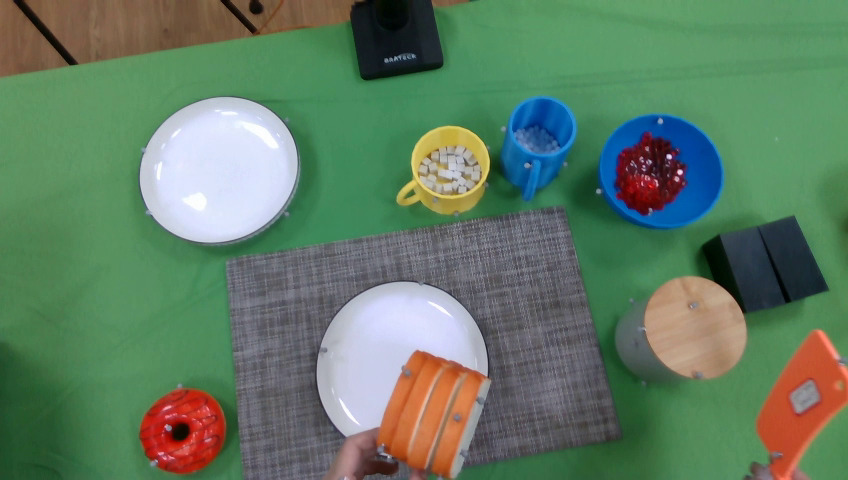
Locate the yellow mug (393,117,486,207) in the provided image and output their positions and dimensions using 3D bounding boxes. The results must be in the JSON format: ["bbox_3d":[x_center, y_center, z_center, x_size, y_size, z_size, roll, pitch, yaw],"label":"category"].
[{"bbox_3d":[0.016,-0.092,0.784,0.131,0.064,0.099,-32,77,-6],"label":"yellow mug"}]

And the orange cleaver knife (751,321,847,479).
[{"bbox_3d":[0.333,0.174,0.566,0.012,0.076,0.212,4,118,-7],"label":"orange cleaver knife"}]

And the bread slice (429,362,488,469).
[{"bbox_3d":[0.035,0.169,0.580,0.019,0.132,0.104,19,79,14],"label":"bread slice"}]

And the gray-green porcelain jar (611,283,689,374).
[{"bbox_3d":[0.281,0.101,0.701,0.106,0.127,0.105,0,75,0],"label":"gray-green porcelain jar"}]

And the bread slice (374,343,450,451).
[{"bbox_3d":[-0.009,0.153,0.597,0.018,0.135,0.106,18,73,19],"label":"bread slice"}]

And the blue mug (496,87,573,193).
[{"bbox_3d":[0.136,-0.117,0.770,0.082,0.106,0.116,9,75,3],"label":"blue mug"}]

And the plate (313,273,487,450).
[{"bbox_3d":[-0.028,0.144,0.733,0.209,0.038,0.208,0,75,0],"label":"plate"}]

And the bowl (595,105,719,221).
[{"bbox_3d":[0.286,-0.087,0.775,0.151,0.077,0.150,0,75,1],"label":"bowl"}]

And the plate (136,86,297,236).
[{"bbox_3d":[-0.270,-0.103,0.802,0.208,0.039,0.206,0,75,0],"label":"plate"}]

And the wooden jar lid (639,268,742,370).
[{"bbox_3d":[0.279,0.084,0.641,0.108,0.021,0.108,1,76,-2],"label":"wooden jar lid"}]

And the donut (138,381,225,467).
[{"bbox_3d":[-0.284,0.216,0.716,0.099,0.048,0.098,1,75,-2],"label":"donut"}]
